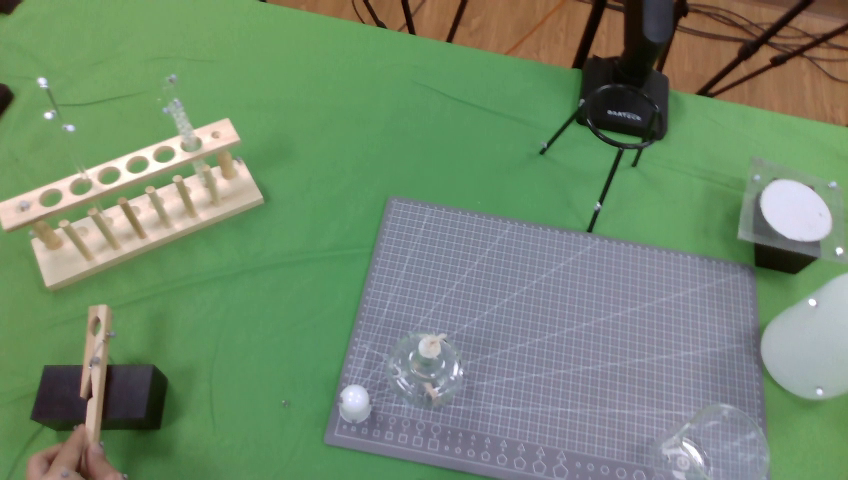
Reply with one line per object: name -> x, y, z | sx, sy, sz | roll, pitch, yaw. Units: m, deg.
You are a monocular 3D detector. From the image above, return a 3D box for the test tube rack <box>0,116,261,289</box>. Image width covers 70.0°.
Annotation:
test tube rack -> -0.311, -0.042, 0.662 | 0.242, 0.086, 0.066 | -26, 67, -17

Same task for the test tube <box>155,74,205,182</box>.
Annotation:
test tube -> -0.255, -0.114, 0.647 | 0.017, 0.151, 0.017 | 1, 56, -1

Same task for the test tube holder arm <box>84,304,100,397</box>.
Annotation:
test tube holder arm -> -0.309, 0.103, 0.568 | 0.010, 0.015, 0.087 | -11, 65, 1

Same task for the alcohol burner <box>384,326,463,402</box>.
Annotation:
alcohol burner -> 0.001, 0.115, 0.586 | 0.078, 0.120, 0.077 | 3, 61, -5

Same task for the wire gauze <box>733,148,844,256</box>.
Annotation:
wire gauze -> 0.432, -0.045, 0.715 | 0.121, 0.011, 0.124 | 18, 62, 5

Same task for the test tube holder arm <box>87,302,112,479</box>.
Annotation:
test tube holder arm -> -0.295, 0.142, 0.550 | 0.013, 0.015, 0.177 | -12, 65, 0

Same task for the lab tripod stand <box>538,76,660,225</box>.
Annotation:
lab tripod stand -> 0.211, -0.111, 0.716 | 0.148, 0.132, 0.147 | 3, 63, -5

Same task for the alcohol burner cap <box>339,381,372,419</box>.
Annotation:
alcohol burner cap -> -0.069, 0.157, 0.599 | 0.034, 0.048, 0.033 | 1, 63, -2

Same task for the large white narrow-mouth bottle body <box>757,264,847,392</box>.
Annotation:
large white narrow-mouth bottle body -> 0.425, 0.079, 0.599 | 0.102, 0.196, 0.101 | 2, 61, -3

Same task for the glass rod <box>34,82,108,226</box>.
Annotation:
glass rod -> -0.346, -0.075, 0.601 | 0.008, 0.201, 0.008 | 4, 53, -5

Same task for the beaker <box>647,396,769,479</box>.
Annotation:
beaker -> 0.259, 0.197, 0.573 | 0.084, 0.101, 0.073 | 8, 61, 1
